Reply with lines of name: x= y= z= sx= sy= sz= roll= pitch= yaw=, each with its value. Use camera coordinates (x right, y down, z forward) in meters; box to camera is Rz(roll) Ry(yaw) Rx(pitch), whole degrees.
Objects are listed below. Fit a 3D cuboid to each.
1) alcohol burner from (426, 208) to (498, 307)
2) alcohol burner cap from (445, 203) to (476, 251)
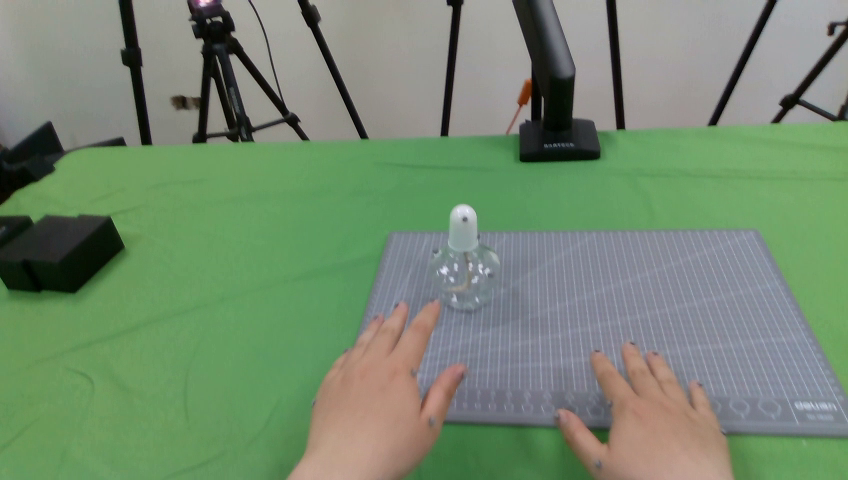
alcohol burner: x=0.040 y=0.013 z=0.644 sx=0.078 sy=0.120 sz=0.077 roll=-3 pitch=37 yaw=2
alcohol burner cap: x=0.038 y=-0.016 z=0.623 sx=0.034 sy=0.048 sz=0.033 roll=0 pitch=38 yaw=0
